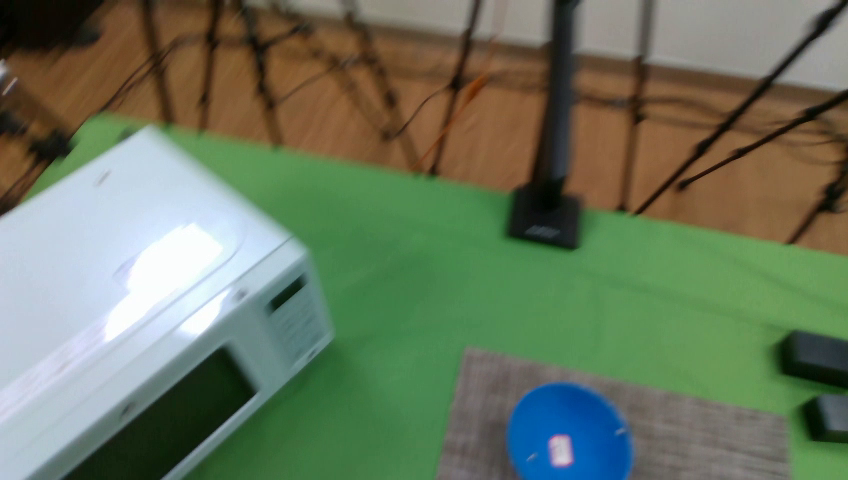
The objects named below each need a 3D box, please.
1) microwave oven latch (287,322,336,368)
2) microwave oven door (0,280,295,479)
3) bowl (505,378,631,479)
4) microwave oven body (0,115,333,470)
[{"bbox_3d":[-0.160,0.141,0.850,0.030,0.030,0.079,39,65,22],"label":"microwave oven latch"},{"bbox_3d":[-0.309,0.219,0.675,0.039,0.246,0.355,37,64,22],"label":"microwave oven door"},{"bbox_3d":[0.175,0.260,0.769,0.151,0.077,0.150,0,56,0],"label":"bowl"},{"bbox_3d":[-0.389,0.114,0.749,0.323,0.262,0.441,37,64,21],"label":"microwave oven body"}]
